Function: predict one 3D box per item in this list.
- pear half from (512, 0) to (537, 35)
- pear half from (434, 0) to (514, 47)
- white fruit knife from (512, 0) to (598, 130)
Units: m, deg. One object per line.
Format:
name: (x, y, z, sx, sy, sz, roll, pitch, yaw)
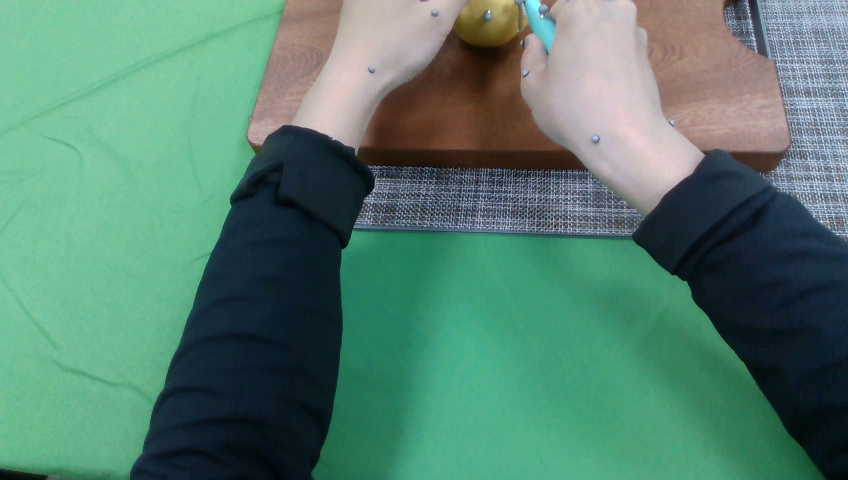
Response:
pear half: (0.071, -0.203, 0.464, 0.031, 0.089, 0.069, -22, 57, -8)
pear half: (0.034, -0.197, 0.454, 0.056, 0.111, 0.075, -23, 59, -4)
white fruit knife: (0.073, -0.162, 0.431, 0.016, 0.028, 0.205, -21, 62, -2)
